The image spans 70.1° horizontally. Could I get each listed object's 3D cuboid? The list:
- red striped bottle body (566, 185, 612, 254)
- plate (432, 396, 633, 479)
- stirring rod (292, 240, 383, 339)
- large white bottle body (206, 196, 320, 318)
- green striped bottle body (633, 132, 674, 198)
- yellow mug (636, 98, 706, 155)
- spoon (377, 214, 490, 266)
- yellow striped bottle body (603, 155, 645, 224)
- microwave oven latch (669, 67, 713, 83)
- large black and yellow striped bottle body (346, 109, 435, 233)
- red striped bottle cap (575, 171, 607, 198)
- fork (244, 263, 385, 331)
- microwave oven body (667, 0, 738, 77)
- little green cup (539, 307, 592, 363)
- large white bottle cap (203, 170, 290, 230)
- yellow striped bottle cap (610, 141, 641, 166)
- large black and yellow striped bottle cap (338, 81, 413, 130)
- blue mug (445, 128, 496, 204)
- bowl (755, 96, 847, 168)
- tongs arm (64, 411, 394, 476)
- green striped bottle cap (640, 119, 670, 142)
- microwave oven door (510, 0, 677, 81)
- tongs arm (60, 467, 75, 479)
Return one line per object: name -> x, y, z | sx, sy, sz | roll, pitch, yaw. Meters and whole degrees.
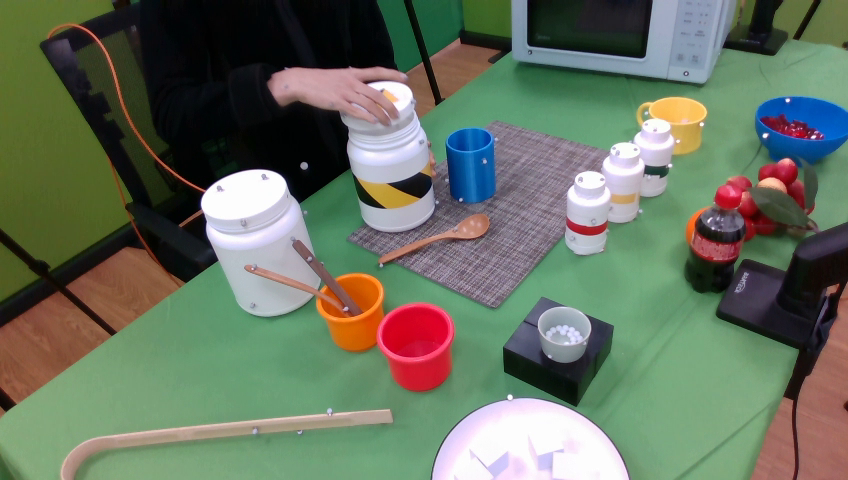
red striped bottle body -> 0.248, -0.041, 0.910 | 0.063, 0.120, 0.062 | -4, 41, 4
plate -> 0.112, 0.261, 0.634 | 0.209, 0.038, 0.208 | -5, 40, 4
stirring rod -> -0.118, 0.068, 0.826 | 0.176, 0.006, 0.014 | 49, 60, -4
large white bottle body -> -0.233, 0.008, 0.876 | 0.130, 0.185, 0.130 | -4, 40, 4
green striped bottle body -> 0.376, -0.135, 1.001 | 0.063, 0.120, 0.063 | -5, 40, 5
yellow mug -> 0.453, -0.217, 1.128 | 0.100, 0.064, 0.129 | -34, 46, -27
spoon -> 0.015, 0.002, 0.966 | 0.194, 0.022, 0.041 | -18, 62, -12
yellow striped bottle body -> 0.314, -0.090, 0.957 | 0.063, 0.121, 0.062 | -4, 40, 4
microwave oven latch -> 0.556, -0.349, 1.261 | 0.078, 0.029, 0.030 | 16, 46, 27
large black and yellow striped bottle body -> -0.054, -0.118, 0.992 | 0.131, 0.185, 0.130 | -4, 40, 4
red striped bottle cap -> 0.242, -0.081, 0.876 | 0.044, 0.018, 0.044 | -5, 44, 5
fork -> -0.141, 0.077, 0.807 | 0.209, 0.018, 0.028 | 30, 43, -24
microwave oven body -> 0.462, -0.552, 1.369 | 0.439, 0.261, 0.326 | 15, 45, 26
little green cup -> 0.168, 0.115, 0.721 | 0.061, 0.039, 0.061 | -4, 43, 4
large white bottle cap -> -0.241, -0.057, 0.822 | 0.115, 0.018, 0.114 | -4, 40, 4
yellow striped bottle cap -> 0.308, -0.131, 0.925 | 0.044, 0.019, 0.044 | -4, 46, 5
large black and yellow striped bottle cap -> -0.074, -0.206, 0.918 | 0.115, 0.019, 0.114 | -6, 43, 6
blue mug -> 0.083, -0.139, 1.058 | 0.082, 0.106, 0.116 | -2, 40, 7
bowl -> 0.645, -0.177, 1.041 | 0.151, 0.077, 0.150 | -5, 40, 4
tongs arm -> -0.228, 0.241, 0.715 | 0.385, 0.026, 0.050 | -5, 43, 4
green striped bottle cap -> 0.371, -0.174, 0.968 | 0.044, 0.020, 0.044 | -3, 41, 3
microwave oven door -> 0.354, -0.478, 1.290 | 0.353, 0.245, 0.039 | 15, 45, 25
tongs arm -> -0.239, 0.301, 0.648 | 0.386, 0.028, 0.028 | 6, 49, 16
